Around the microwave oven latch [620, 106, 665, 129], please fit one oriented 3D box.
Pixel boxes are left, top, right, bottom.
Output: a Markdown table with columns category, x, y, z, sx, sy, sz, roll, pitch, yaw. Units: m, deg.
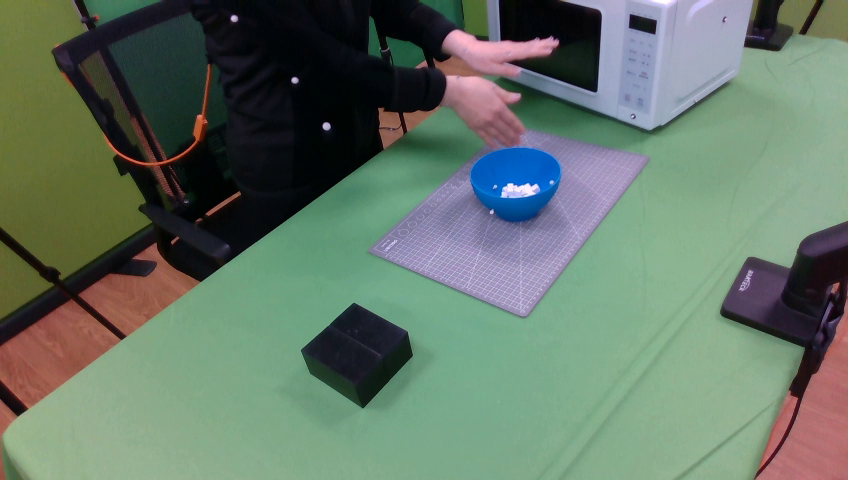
| category | x | y | z | sx | sy | sz | roll | pitch | yaw |
| --- | --- | --- | --- | --- | --- | --- | --- | --- | --- |
| microwave oven latch | 0.412 | -0.237 | 1.146 | 0.030 | 0.029 | 0.078 | -32 | 44 | -24 |

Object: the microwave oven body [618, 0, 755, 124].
| category | x | y | z | sx | sy | sz | roll | pitch | yaw |
| --- | --- | --- | --- | --- | --- | --- | --- | --- | --- |
| microwave oven body | 0.402 | -0.458 | 1.259 | 0.327 | 0.261 | 0.437 | -33 | 45 | -24 |

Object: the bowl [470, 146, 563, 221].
| category | x | y | z | sx | sy | sz | roll | pitch | yaw |
| --- | --- | --- | --- | --- | --- | --- | --- | --- | --- |
| bowl | 0.155 | -0.084 | 1.008 | 0.151 | 0.077 | 0.150 | -6 | 40 | 5 |

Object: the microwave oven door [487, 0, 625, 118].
| category | x | y | z | sx | sy | sz | roll | pitch | yaw |
| --- | --- | --- | --- | --- | --- | --- | --- | --- | --- |
| microwave oven door | 0.262 | -0.410 | 1.221 | 0.039 | 0.245 | 0.352 | -33 | 45 | -25 |
